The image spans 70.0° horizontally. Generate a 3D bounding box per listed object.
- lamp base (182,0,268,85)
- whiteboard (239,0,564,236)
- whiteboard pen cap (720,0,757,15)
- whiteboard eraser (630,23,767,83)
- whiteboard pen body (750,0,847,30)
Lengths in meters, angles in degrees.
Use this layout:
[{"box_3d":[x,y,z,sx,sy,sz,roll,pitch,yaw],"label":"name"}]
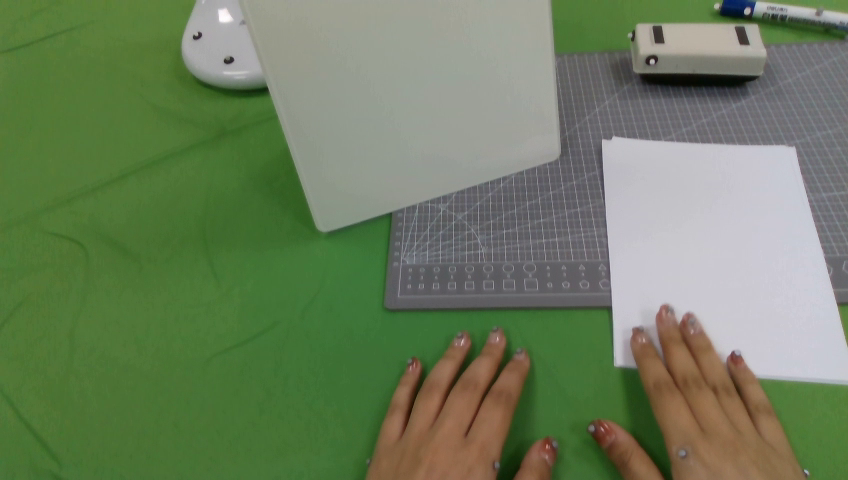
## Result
[{"box_3d":[-0.192,-0.272,0.595,0.177,0.182,0.160,34,62,30],"label":"lamp base"},{"box_3d":[-0.028,-0.194,0.475,0.217,0.308,0.142,-18,33,-7],"label":"whiteboard"},{"box_3d":[0.325,-0.241,0.626,0.033,0.018,0.018,18,56,22],"label":"whiteboard pen cap"},{"box_3d":[0.251,-0.173,0.561,0.112,0.042,0.055,4,53,8],"label":"whiteboard eraser"},{"box_3d":[0.378,-0.225,0.605,0.140,0.017,0.017,18,56,21],"label":"whiteboard pen body"}]
